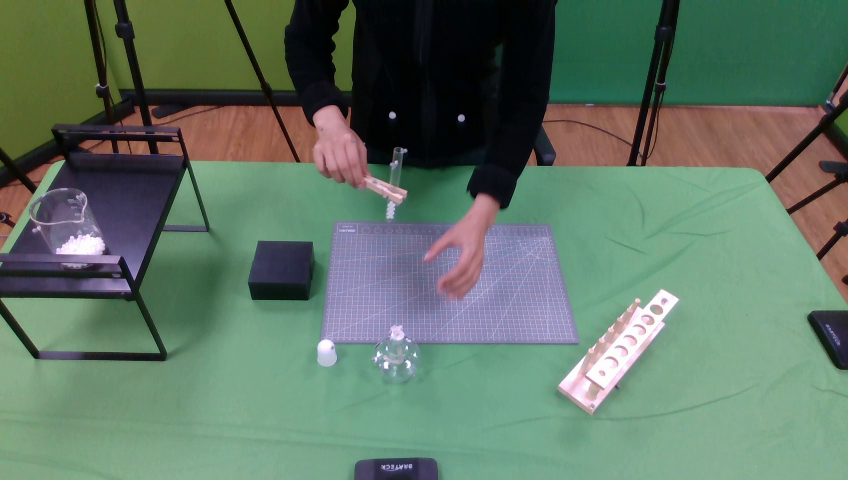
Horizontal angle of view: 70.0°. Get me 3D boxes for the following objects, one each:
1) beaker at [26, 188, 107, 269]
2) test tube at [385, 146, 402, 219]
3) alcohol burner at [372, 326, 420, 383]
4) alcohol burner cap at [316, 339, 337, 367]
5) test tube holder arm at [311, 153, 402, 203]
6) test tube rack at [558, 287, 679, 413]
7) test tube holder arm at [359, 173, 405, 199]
[{"bbox_3d":[-0.504,-0.013,0.868,0.084,0.101,0.074,23,49,17],"label":"beaker"},{"bbox_3d":[-0.052,-0.092,1.007,0.017,0.151,0.017,6,44,-5],"label":"test tube"},{"bbox_3d":[-0.045,0.175,0.961,0.078,0.120,0.077,1,47,-1],"label":"alcohol burner"},{"bbox_3d":[-0.161,0.182,0.995,0.034,0.048,0.033,2,47,-1],"label":"alcohol burner cap"},{"bbox_3d":[-0.116,-0.107,1.030,0.178,0.015,0.013,25,38,12],"label":"test tube holder arm"},{"bbox_3d":[0.326,0.170,1.009,0.066,0.085,0.242,36,54,27],"label":"test tube rack"},{"bbox_3d":[-0.073,-0.091,1.026,0.088,0.015,0.010,22,38,8],"label":"test tube holder arm"}]
